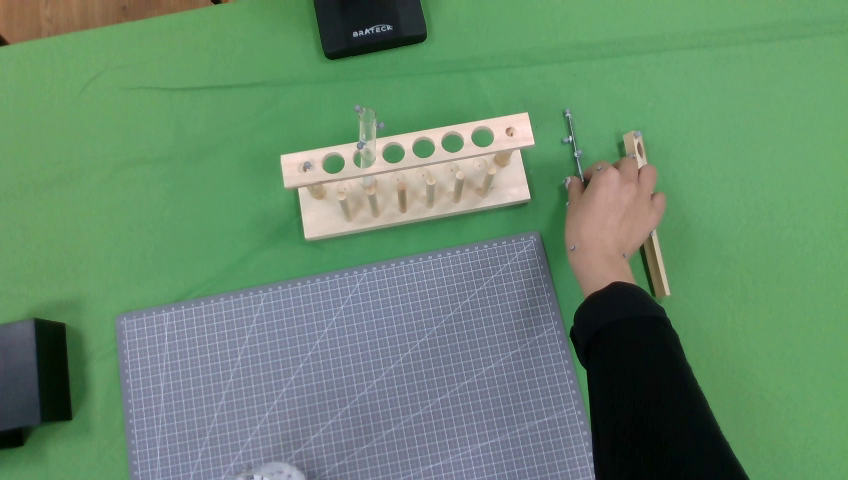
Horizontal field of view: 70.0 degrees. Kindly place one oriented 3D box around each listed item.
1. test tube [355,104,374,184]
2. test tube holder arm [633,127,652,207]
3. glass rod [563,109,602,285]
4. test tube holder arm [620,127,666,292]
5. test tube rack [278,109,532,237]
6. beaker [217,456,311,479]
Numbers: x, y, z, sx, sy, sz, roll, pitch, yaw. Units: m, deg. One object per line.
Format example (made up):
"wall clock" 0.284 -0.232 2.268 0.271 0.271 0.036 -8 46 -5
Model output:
"test tube" -0.056 -0.085 0.570 0.017 0.151 0.017 2 74 -5
"test tube holder arm" 0.230 -0.077 0.651 0.010 0.015 0.087 2 76 -33
"glass rod" 0.169 -0.049 0.649 0.008 0.008 0.198 -7 77 -1
"test tube holder arm" 0.231 -0.034 0.639 0.013 0.015 0.177 1 77 -33
"test tube rack" -0.015 -0.065 0.616 0.242 0.085 0.066 -10 77 -2
"beaker" -0.140 0.233 0.541 0.084 0.100 0.073 -7 77 -1
